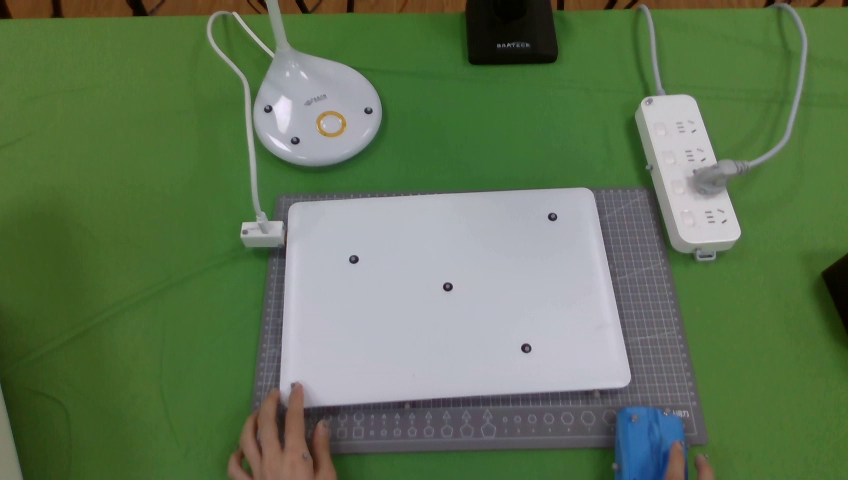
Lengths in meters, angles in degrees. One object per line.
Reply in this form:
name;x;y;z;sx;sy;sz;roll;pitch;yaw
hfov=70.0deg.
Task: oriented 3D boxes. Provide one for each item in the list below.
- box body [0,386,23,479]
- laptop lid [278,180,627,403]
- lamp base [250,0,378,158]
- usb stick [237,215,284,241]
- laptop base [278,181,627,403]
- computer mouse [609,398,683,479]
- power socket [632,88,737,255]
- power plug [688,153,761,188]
box body;-0.524;0.177;0.514;0.254;0.161;0.361;-27;67;-13
laptop lid;0.024;0.046;0.647;0.357;0.013;0.239;-2;66;-1
lamp base;-0.147;-0.213;0.698;0.160;0.182;0.178;-38;66;-17
usb stick;-0.174;-0.013;0.674;0.059;0.027;0.021;2;58;-3
laptop base;0.024;0.049;0.659;0.354;0.023;0.233;-3;67;-2
computer mouse;0.208;0.207;0.569;0.063;0.041;0.116;10;62;6
power socket;0.306;-0.090;0.721;0.072;0.033;0.224;-3;64;-3
power plug;0.337;-0.073;0.687;0.072;0.053;0.035;7;63;1
